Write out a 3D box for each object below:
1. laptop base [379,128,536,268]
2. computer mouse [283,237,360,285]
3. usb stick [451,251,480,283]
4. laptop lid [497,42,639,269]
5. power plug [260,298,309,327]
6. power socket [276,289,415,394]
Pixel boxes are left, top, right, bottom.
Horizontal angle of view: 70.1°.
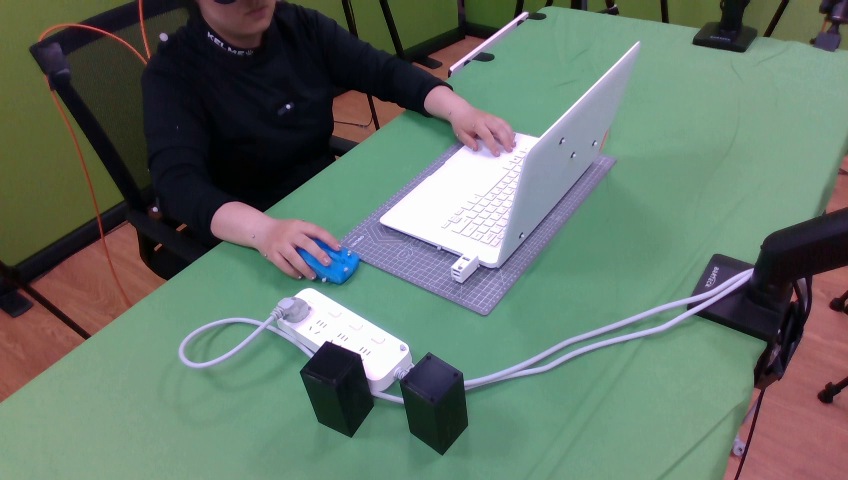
[{"bbox_3d":[0.118,-0.088,1.058,0.233,0.023,0.355,19,47,32],"label":"laptop base"},{"bbox_3d":[-0.161,0.030,0.949,0.116,0.041,0.063,16,43,21],"label":"computer mouse"},{"bbox_3d":[0.066,0.036,0.899,0.021,0.027,0.059,23,45,32],"label":"usb stick"},{"bbox_3d":[0.221,-0.130,0.913,0.013,0.242,0.357,31,51,21],"label":"laptop lid"},{"bbox_3d":[-0.193,0.107,0.831,0.073,0.053,0.035,-31,43,-26],"label":"power plug"},{"bbox_3d":[-0.114,0.133,0.821,0.225,0.033,0.072,25,49,33],"label":"power socket"}]
